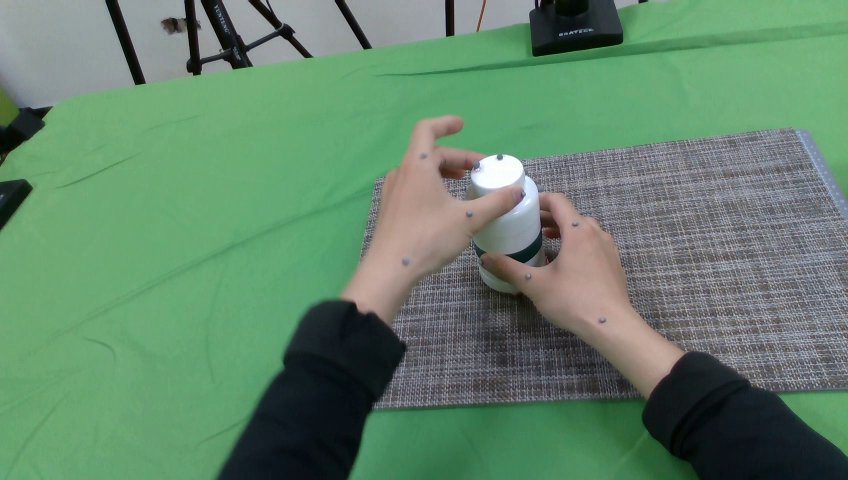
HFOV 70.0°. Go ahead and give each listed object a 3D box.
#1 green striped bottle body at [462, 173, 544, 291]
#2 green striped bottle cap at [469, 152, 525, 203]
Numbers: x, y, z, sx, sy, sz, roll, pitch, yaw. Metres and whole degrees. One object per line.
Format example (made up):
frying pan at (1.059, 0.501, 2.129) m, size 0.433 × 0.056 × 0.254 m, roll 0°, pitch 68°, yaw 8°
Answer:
green striped bottle body at (0.070, -0.015, 0.529) m, size 0.063 × 0.120 × 0.062 m, roll -8°, pitch 45°, yaw 9°
green striped bottle cap at (0.059, -0.051, 0.492) m, size 0.044 × 0.020 × 0.044 m, roll -8°, pitch 46°, yaw 9°
